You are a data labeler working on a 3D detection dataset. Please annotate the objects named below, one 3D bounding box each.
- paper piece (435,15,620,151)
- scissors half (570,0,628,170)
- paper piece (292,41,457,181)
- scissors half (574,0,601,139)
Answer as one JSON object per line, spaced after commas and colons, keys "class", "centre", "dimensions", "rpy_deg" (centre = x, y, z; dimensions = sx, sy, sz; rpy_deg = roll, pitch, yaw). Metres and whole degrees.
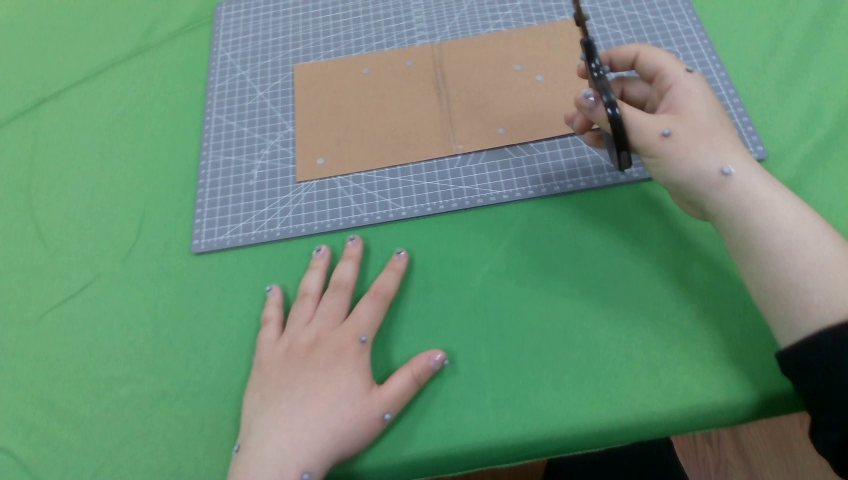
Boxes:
{"class": "paper piece", "centre": [0.083, -0.140, 0.521], "dimensions": [0.135, 0.004, 0.134], "rpy_deg": [-10, 58, 3]}
{"class": "scissors half", "centre": [0.102, -0.128, 0.381], "dimensions": [0.013, 0.040, 0.175], "rpy_deg": [-17, 98, 12]}
{"class": "paper piece", "centre": [-0.048, -0.117, 0.527], "dimensions": [0.138, 0.009, 0.134], "rpy_deg": [-9, 56, 3]}
{"class": "scissors half", "centre": [0.105, -0.135, 0.400], "dimensions": [0.013, 0.176, 0.040], "rpy_deg": [-15, 24, 17]}
